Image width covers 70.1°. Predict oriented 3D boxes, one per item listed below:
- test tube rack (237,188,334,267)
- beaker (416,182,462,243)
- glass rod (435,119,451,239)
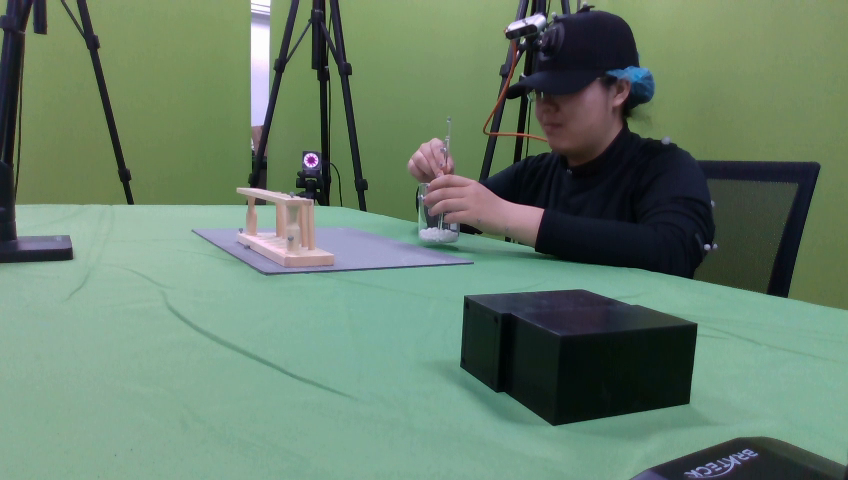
[{"bbox_3d":[-0.202,-0.024,0.855,0.067,0.085,0.241,-2,8,-30],"label":"test tube rack"},{"bbox_3d":[0.029,-0.046,1.012,0.083,0.100,0.074,5,6,40],"label":"beaker"},{"bbox_3d":[0.032,-0.101,1.005,0.008,0.199,0.008,6,2,0],"label":"glass rod"}]
